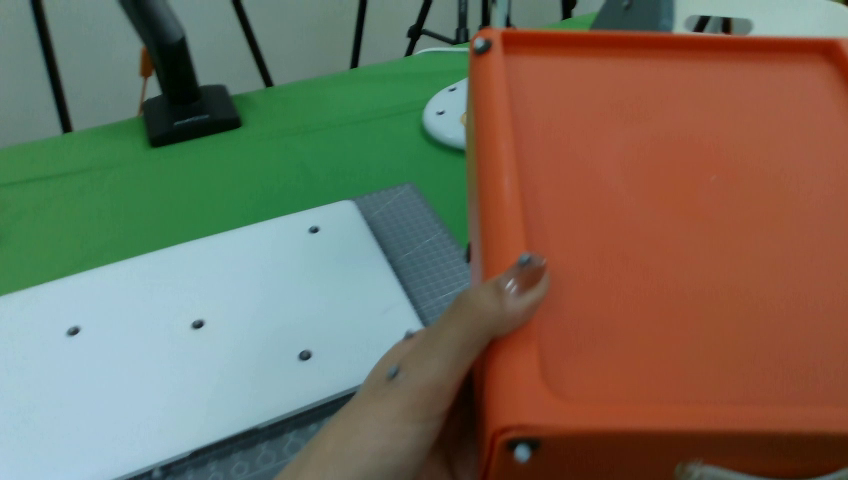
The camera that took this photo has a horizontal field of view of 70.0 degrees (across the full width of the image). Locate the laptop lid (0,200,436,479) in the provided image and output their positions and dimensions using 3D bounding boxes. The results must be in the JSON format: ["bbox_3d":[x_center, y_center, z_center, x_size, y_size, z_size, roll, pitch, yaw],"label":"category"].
[{"bbox_3d":[-0.193,0.076,0.532,0.357,0.013,0.239,-16,45,-16],"label":"laptop lid"}]

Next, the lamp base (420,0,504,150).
[{"bbox_3d":[0.075,-0.232,0.770,0.160,0.182,0.178,8,40,12],"label":"lamp base"}]

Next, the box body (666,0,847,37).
[{"bbox_3d":[0.309,-0.116,0.642,0.253,0.162,0.361,8,42,12],"label":"box body"}]

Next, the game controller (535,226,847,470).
[{"bbox_3d":[0.123,0.045,0.251,0.155,0.052,0.096,-3,81,0],"label":"game controller"}]

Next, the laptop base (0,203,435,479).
[{"bbox_3d":[-0.194,0.083,0.541,0.355,0.023,0.233,-17,47,-17],"label":"laptop base"}]

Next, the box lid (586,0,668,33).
[{"bbox_3d":[0.176,-0.173,0.649,0.015,0.264,0.369,26,44,-2],"label":"box lid"}]

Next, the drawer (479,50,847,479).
[{"bbox_3d":[0.121,0.004,0.266,0.194,0.074,0.209,1,51,1],"label":"drawer"}]

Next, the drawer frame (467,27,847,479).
[{"bbox_3d":[0.120,0.001,0.267,0.202,0.083,0.211,1,51,0],"label":"drawer frame"}]
